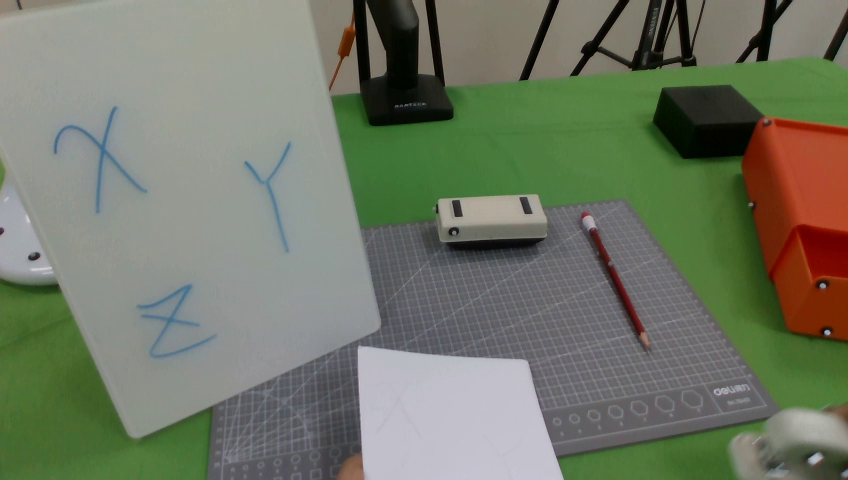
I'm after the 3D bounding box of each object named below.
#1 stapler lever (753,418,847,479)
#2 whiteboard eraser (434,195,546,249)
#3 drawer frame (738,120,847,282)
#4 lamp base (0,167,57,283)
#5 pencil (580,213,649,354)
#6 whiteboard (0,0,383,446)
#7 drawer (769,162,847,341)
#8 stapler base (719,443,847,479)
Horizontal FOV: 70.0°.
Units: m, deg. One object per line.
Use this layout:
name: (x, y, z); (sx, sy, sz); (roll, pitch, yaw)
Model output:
stapler lever: (0.276, 0.141, 0.396); (0.118, 0.040, 0.026); (6, 47, 1)
whiteboard eraser: (0.069, -0.018, 0.639); (0.113, 0.042, 0.055); (-2, 41, -5)
drawer frame: (0.461, -0.034, 0.644); (0.201, 0.083, 0.212); (9, 40, 9)
lamp base: (-0.381, -0.075, 0.586); (0.178, 0.182, 0.160); (20, 43, 24)
pencil: (0.188, 0.036, 0.606); (0.012, 0.012, 0.192); (-3, 42, -5)
whiteboard: (-0.186, -0.036, 0.496); (0.217, 0.307, 0.142); (-21, 26, -23)
drawer: (0.447, 0.010, 0.594); (0.194, 0.074, 0.210); (8, 40, 10)
stapler base: (0.274, 0.160, 0.415); (0.130, 0.024, 0.041); (5, 47, 2)
